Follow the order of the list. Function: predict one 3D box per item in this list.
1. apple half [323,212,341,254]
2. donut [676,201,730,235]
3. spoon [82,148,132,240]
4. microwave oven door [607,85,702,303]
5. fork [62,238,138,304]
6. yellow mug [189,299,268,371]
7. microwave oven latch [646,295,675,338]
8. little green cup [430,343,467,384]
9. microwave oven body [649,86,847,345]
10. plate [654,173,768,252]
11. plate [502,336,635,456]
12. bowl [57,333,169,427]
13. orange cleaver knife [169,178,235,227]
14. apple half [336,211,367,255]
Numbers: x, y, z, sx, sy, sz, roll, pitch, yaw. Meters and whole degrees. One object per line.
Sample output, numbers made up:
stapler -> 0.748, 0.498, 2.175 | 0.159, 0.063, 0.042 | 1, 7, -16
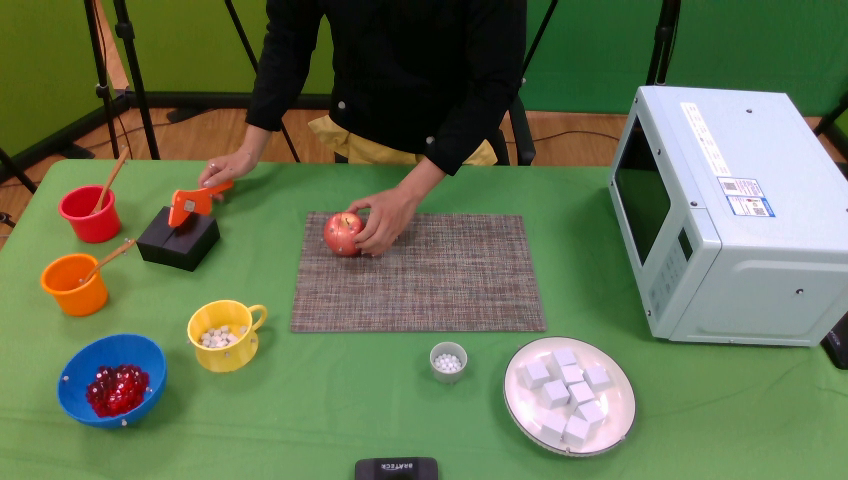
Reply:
apple half -> -0.176, -0.012, 1.155 | 0.033, 0.081, 0.081 | 6, 46, -3
donut -> 0.538, -0.044, 1.170 | 0.099, 0.048, 0.098 | 5, 28, -2
spoon -> -0.602, -0.089, 1.156 | 0.041, 0.022, 0.194 | 28, 95, 22
microwave oven door -> 0.423, -0.094, 1.141 | 0.039, 0.245, 0.353 | 2, 46, -1
fork -> -0.547, 0.053, 1.018 | 0.207, 0.019, 0.028 | -36, 41, 23
yellow mug -> -0.316, 0.148, 1.002 | 0.131, 0.064, 0.099 | -33, 56, -31
microwave oven latch -> 0.412, 0.134, 1.061 | 0.030, 0.029, 0.078 | 4, 45, 1
little green cup -> 0.039, 0.203, 0.994 | 0.061, 0.039, 0.061 | 2, 46, -2
microwave oven body -> 0.568, -0.053, 1.118 | 0.326, 0.261, 0.439 | 2, 45, -1
plate -> 0.555, -0.050, 1.187 | 0.209, 0.038, 0.208 | 1, 47, -1
plate -> 0.225, 0.248, 0.963 | 0.208, 0.039, 0.206 | 2, 46, -2
bowl -> -0.455, 0.223, 0.911 | 0.151, 0.077, 0.150 | 3, 45, -2
orange cleaver knife -> -0.436, -0.077, 1.199 | 0.012, 0.077, 0.211 | 14, 19, 10
apple half -> -0.136, -0.010, 1.157 | 0.053, 0.075, 0.080 | 7, 42, -3
